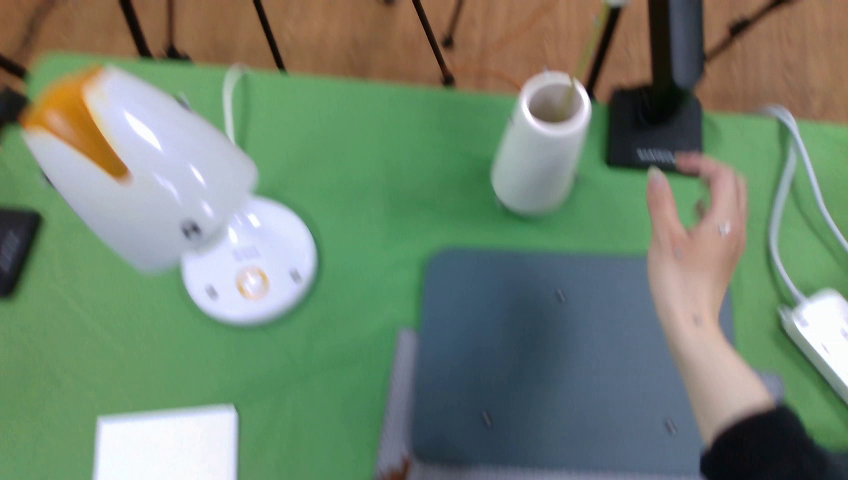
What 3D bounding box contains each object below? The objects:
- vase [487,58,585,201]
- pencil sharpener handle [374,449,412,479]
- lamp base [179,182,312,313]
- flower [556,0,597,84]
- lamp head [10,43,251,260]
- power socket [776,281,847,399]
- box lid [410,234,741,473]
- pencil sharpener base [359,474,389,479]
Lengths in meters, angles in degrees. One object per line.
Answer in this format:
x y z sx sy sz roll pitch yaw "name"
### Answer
0.127 -0.119 0.687 0.098 0.201 0.097 0 71 0 "vase"
-0.026 0.226 0.612 0.036 0.068 0.030 10 72 12 "pencil sharpener handle"
-0.225 -0.024 0.671 0.161 0.181 0.178 -23 71 -6 "lamp base"
0.137 -0.158 0.613 0.044 0.364 0.038 -16 60 -19 "flower"
-0.194 -0.066 0.395 0.112 0.124 0.111 -26 35 20 "lamp head"
0.501 0.146 0.684 0.072 0.033 0.225 -32 74 -9 "power socket"
0.174 0.125 0.706 0.371 0.015 0.261 2 72 2 "box lid"
-0.039 0.277 0.609 0.061 0.107 0.076 12 72 6 "pencil sharpener base"
